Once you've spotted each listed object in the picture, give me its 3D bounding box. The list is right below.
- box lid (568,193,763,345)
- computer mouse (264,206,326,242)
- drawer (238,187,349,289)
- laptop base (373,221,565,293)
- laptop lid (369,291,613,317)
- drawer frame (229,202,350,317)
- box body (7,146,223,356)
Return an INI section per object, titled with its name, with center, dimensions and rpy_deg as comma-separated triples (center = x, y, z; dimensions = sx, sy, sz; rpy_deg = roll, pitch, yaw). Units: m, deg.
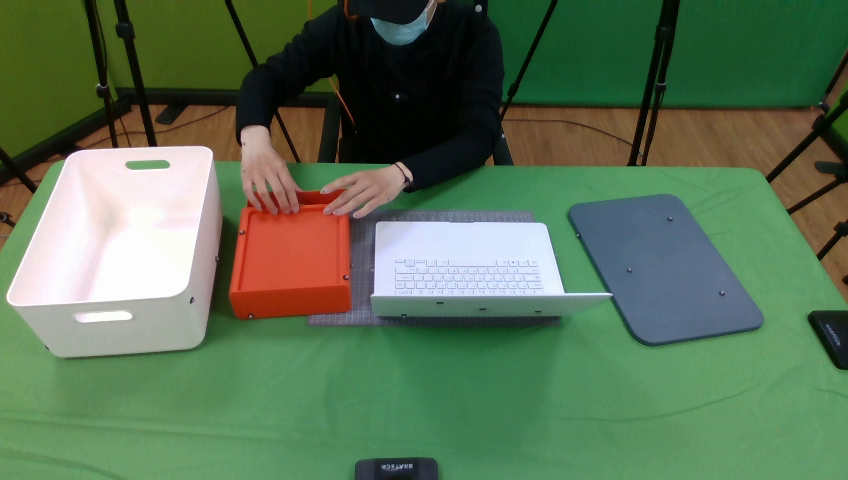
[box lid]
center = 0.464, 0.040, 1.203
dimensions = 0.264, 0.015, 0.369
rpy_deg = -7, 47, -11
[computer mouse]
center = -0.248, -0.032, 1.171
dimensions = 0.117, 0.041, 0.062
rpy_deg = 13, 34, -8
[drawer]
center = -0.242, -0.004, 1.140
dimensions = 0.195, 0.073, 0.210
rpy_deg = -2, 47, -5
[laptop base]
center = 0.080, 0.049, 1.158
dimensions = 0.355, 0.023, 0.234
rpy_deg = 0, 43, -4
[laptop lid]
center = 0.092, 0.104, 0.965
dimensions = 0.357, 0.242, 0.013
rpy_deg = 0, 76, -5
[drawer frame]
center = -0.237, 0.030, 1.107
dimensions = 0.202, 0.083, 0.212
rpy_deg = -3, 47, -7
[box body]
center = -0.499, 0.012, 1.051
dimensions = 0.254, 0.161, 0.361
rpy_deg = -3, 47, -7
